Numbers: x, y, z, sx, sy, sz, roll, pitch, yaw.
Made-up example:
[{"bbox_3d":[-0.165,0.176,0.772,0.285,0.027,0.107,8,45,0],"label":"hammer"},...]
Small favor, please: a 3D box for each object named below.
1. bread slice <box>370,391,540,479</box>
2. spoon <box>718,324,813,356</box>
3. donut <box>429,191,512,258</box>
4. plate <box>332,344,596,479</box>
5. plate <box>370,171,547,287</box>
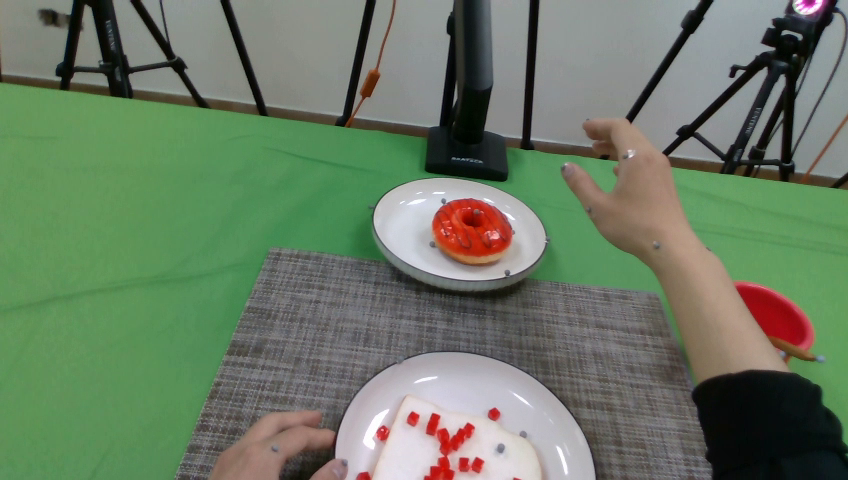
[{"bbox_3d":[0.028,0.178,0.487,0.131,0.019,0.104,13,40,9],"label":"bread slice"},{"bbox_3d":[0.316,0.091,0.565,0.041,0.021,0.194,20,-3,13],"label":"spoon"},{"bbox_3d":[0.055,-0.018,0.708,0.099,0.048,0.098,6,40,-5],"label":"donut"},{"bbox_3d":[0.031,0.174,0.488,0.209,0.038,0.207,5,40,-4],"label":"plate"},{"bbox_3d":[0.039,-0.011,0.716,0.208,0.039,0.205,6,37,-4],"label":"plate"}]
